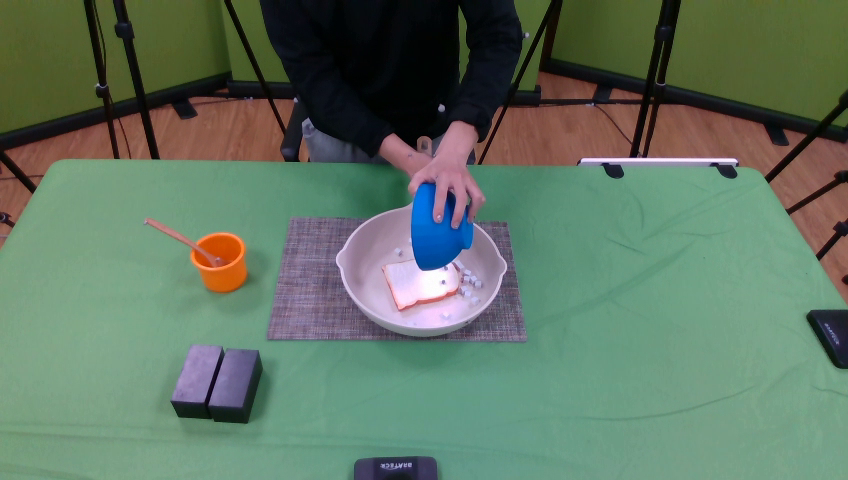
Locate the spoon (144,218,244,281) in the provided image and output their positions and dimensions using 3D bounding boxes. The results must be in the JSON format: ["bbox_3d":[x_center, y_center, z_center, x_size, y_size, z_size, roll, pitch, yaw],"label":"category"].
[{"bbox_3d":[-0.401,0.015,1.064,0.195,0.021,0.041,41,36,-29],"label":"spoon"}]

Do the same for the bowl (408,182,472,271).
[{"bbox_3d":[0.035,-0.022,1.008,0.077,0.152,0.150,0,44,17],"label":"bowl"}]

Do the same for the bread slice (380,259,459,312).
[{"bbox_3d":[-0.005,0.074,1.119,0.134,0.018,0.106,-16,50,-16],"label":"bread slice"}]

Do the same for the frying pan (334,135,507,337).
[{"bbox_3d":[-0.004,-0.026,1.160,0.307,0.103,0.485,4,55,-2],"label":"frying pan"}]
